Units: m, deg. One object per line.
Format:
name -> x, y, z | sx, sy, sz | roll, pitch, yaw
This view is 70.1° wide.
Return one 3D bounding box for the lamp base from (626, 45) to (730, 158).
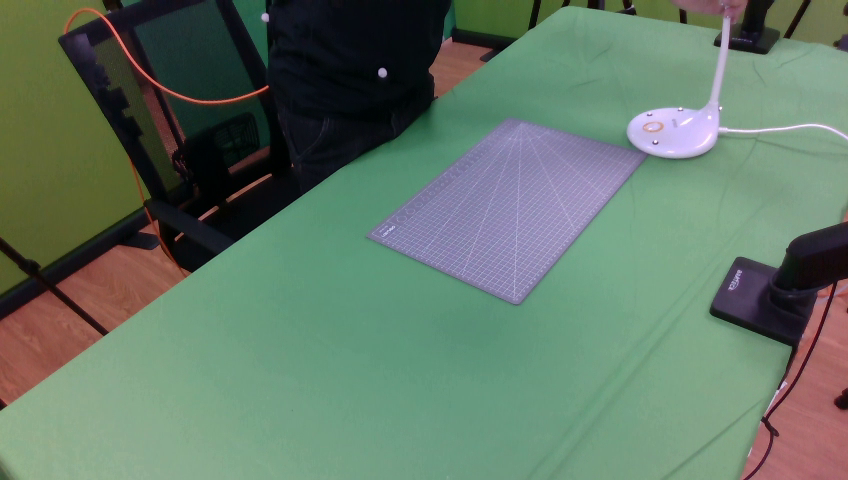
lamp base -> 0.468, -0.262, 1.085 | 0.179, 0.181, 0.159 | -4, 41, -1
